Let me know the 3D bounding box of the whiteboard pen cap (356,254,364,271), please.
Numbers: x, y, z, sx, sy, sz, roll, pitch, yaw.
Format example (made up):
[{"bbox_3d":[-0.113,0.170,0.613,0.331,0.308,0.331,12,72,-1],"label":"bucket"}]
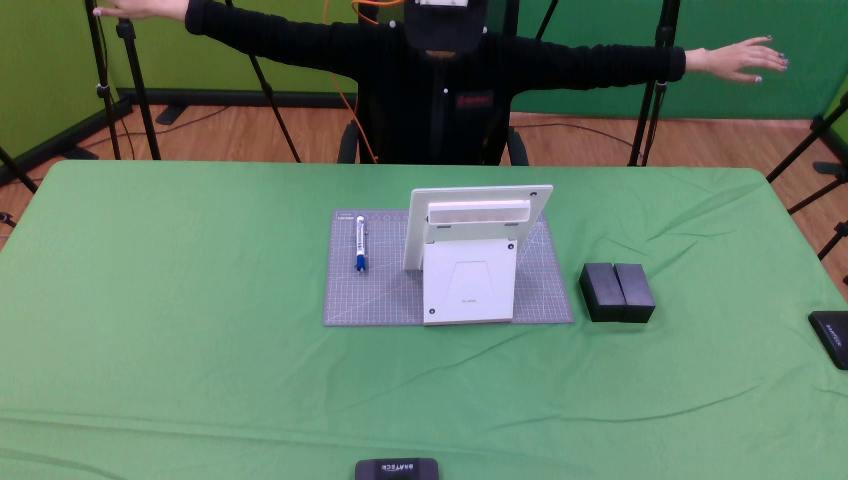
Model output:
[{"bbox_3d":[-0.120,0.042,1.144,0.018,0.018,0.033,-1,43,-5],"label":"whiteboard pen cap"}]

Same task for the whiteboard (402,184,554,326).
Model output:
[{"bbox_3d":[0.081,0.044,1.005,0.217,0.306,0.143,-1,66,-6],"label":"whiteboard"}]

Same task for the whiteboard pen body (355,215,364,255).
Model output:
[{"bbox_3d":[-0.125,0.001,1.186,0.017,0.017,0.140,-2,45,-5],"label":"whiteboard pen body"}]
